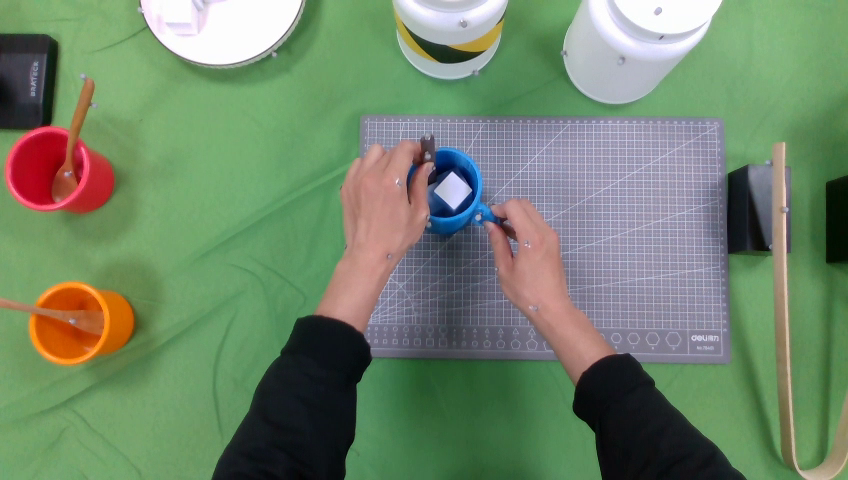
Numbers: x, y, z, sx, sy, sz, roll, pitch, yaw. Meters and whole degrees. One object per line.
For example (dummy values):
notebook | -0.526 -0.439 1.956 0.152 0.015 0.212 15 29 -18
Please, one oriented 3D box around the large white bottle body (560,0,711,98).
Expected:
large white bottle body | 0.232 -0.248 0.669 0.130 0.185 0.130 0 84 1

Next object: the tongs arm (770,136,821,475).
tongs arm | 0.416 0.076 0.678 0.051 0.026 0.385 -4 97 -2

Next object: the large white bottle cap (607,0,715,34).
large white bottle cap | 0.230 -0.257 0.586 0.115 0.018 0.114 0 84 0

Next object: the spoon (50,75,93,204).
spoon | -0.398 -0.109 0.686 0.041 0.021 0.194 47 130 8

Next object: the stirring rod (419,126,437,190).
stirring rod | 0.006 -0.084 0.647 0.014 0.177 0.006 -24 77 -3

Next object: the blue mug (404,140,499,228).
blue mug | 0.035 -0.052 0.692 0.116 0.106 0.082 33 86 3

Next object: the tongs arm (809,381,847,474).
tongs arm | 0.498 0.078 0.679 0.028 0.027 0.388 9 97 -6

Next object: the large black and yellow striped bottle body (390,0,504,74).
large black and yellow striped bottle body | 0.026 -0.278 0.675 0.131 0.184 0.130 0 84 1

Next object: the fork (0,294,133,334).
fork | -0.430 0.072 0.668 0.209 0.018 0.028 23 83 -41

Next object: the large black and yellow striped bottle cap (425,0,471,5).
large black and yellow striped bottle cap | 0.024 -0.289 0.593 0.115 0.019 0.115 0 86 0

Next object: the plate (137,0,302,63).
plate | -0.249 -0.318 0.756 0.208 0.039 0.207 0 85 1
